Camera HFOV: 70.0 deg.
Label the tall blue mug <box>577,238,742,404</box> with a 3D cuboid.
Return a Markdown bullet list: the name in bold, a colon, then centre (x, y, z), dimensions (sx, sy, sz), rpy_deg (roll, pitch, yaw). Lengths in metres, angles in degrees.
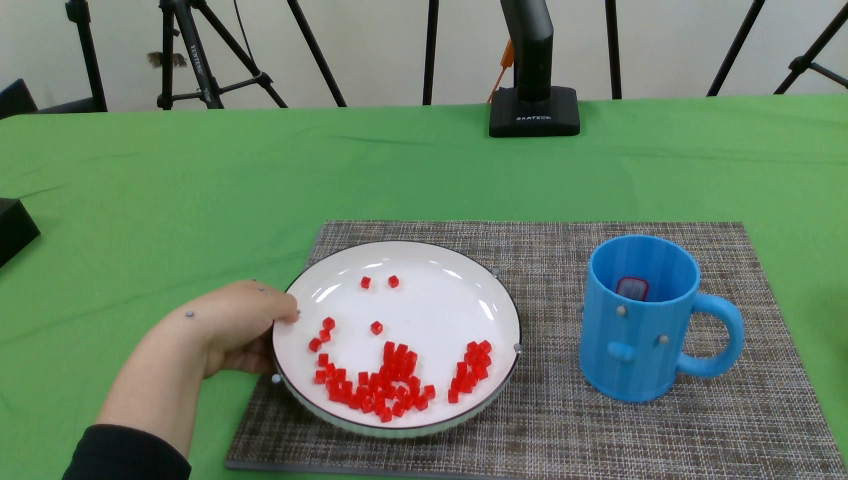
- **tall blue mug**: centre (0.177, 0.063, 0.468), dimensions (0.107, 0.109, 0.077), rpy_deg (-4, 38, 4)

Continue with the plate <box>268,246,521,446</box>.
- **plate**: centre (-0.023, 0.085, 0.512), dimensions (0.208, 0.039, 0.205), rpy_deg (2, 40, -2)
